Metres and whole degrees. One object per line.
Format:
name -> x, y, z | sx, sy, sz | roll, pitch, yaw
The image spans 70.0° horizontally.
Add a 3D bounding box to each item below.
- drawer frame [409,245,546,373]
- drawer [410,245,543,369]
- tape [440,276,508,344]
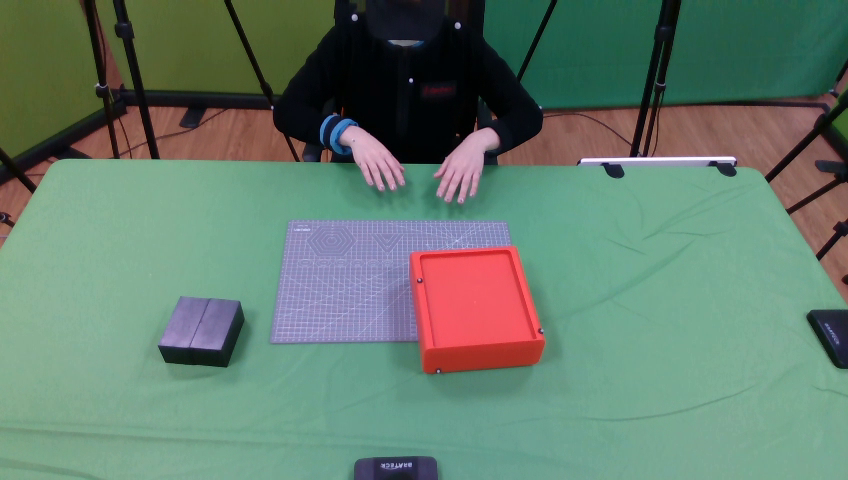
drawer frame -> 0.084, 0.113, 1.049 | 0.202, 0.083, 0.212 | -4, 48, -8
drawer -> 0.083, 0.111, 1.051 | 0.195, 0.073, 0.210 | -3, 47, -8
tape -> 0.086, 0.120, 1.053 | 0.117, 0.053, 0.116 | 2, 46, -2
